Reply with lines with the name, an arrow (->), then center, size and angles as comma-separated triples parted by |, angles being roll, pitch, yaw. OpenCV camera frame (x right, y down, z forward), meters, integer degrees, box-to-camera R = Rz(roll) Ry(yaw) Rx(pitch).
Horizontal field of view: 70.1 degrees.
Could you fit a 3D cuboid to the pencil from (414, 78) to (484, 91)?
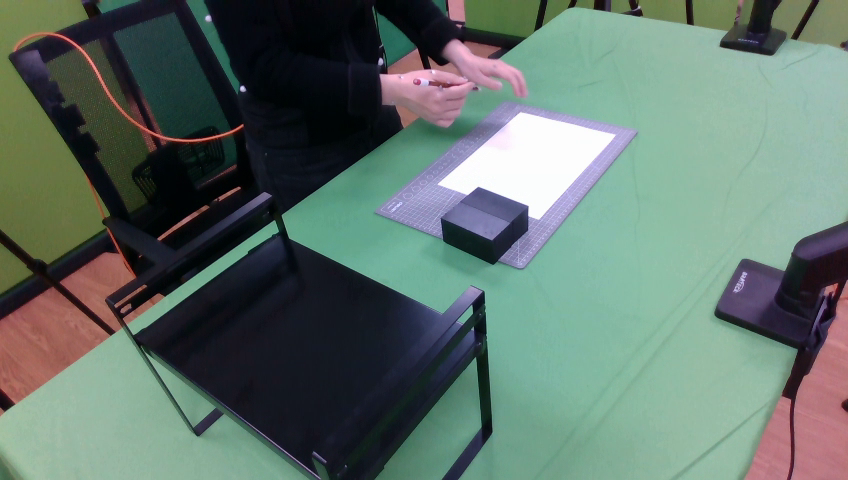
pencil -> 0.047, -0.257, 1.008 | 0.012, 0.012, 0.195 | 26, 22, 33
